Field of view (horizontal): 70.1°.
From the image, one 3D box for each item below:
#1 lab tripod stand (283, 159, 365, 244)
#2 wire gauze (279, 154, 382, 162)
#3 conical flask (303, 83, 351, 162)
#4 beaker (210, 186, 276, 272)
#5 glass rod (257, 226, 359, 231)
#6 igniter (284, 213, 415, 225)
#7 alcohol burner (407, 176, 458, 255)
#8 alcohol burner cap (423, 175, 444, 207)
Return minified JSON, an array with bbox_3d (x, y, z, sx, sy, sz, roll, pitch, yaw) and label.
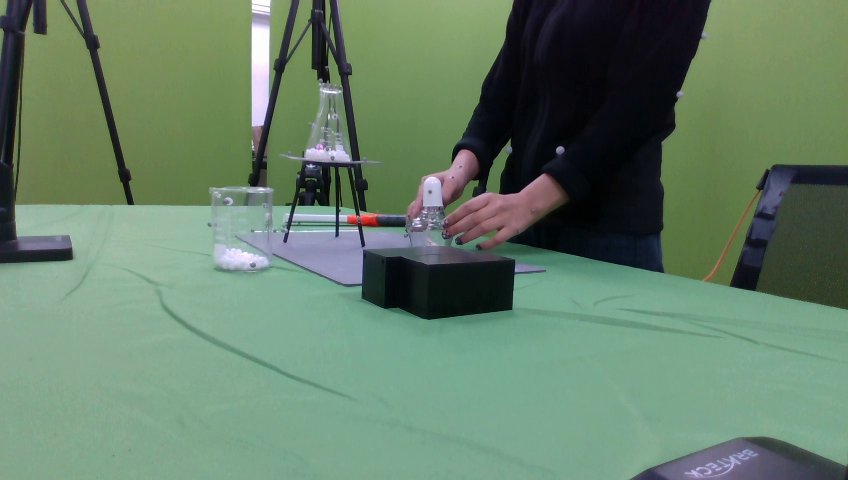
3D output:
[{"bbox_3d":[-0.151,-0.063,0.983,0.148,0.131,0.148,4,7,0],"label":"lab tripod stand"},{"bbox_3d":[-0.149,-0.128,0.974,0.124,0.011,0.122,6,6,41],"label":"wire gauze"},{"bbox_3d":[-0.151,-0.186,0.963,0.075,0.122,0.075,4,6,0],"label":"conical flask"},{"bbox_3d":[-0.224,-0.014,0.738,0.084,0.100,0.074,4,7,16],"label":"beaker"},{"bbox_3d":[-0.216,-0.022,1.151,0.201,0.008,0.008,-2,8,-28],"label":"glass rod"},{"bbox_3d":[-0.154,-0.045,1.282,0.278,0.025,0.057,0,-2,-20],"label":"igniter"},{"bbox_3d":[0.013,-0.038,0.917,0.078,0.119,0.078,3,5,0],"label":"alcohol burner"},{"bbox_3d":[0.013,-0.074,0.913,0.034,0.048,0.034,-3,4,1],"label":"alcohol burner cap"}]
